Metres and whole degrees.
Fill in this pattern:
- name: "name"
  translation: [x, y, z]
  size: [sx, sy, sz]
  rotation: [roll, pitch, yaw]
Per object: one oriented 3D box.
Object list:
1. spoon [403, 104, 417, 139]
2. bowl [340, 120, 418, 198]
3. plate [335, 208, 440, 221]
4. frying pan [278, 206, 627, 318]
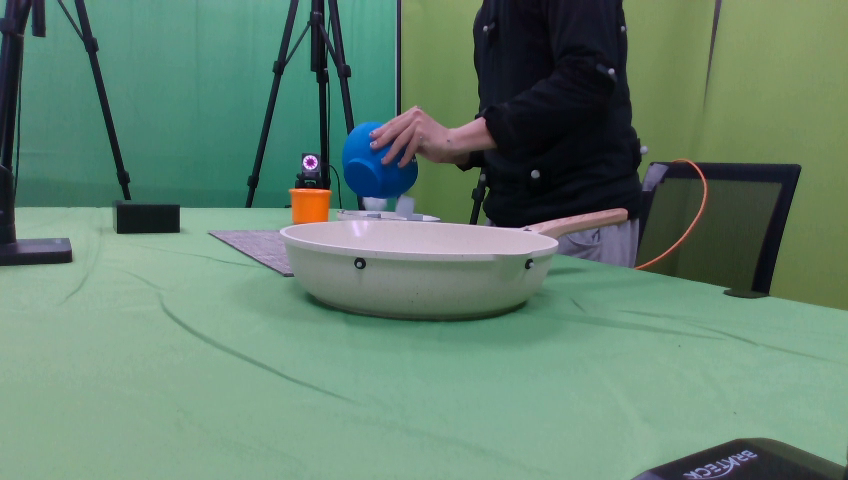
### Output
- name: "spoon"
  translation: [-0.047, -0.192, 1.200]
  size: [0.041, 0.193, 0.022]
  rotation: [3, -32, 30]
- name: "bowl"
  translation: [-0.095, -0.131, 1.084]
  size: [0.151, 0.151, 0.077]
  rotation: [6, 39, 29]
- name: "plate"
  translation: [-0.073, -0.035, 1.196]
  size: [0.208, 0.039, 0.207]
  rotation: [4, 6, 0]
- name: "frying pan"
  translation: [0.079, 0.002, 0.705]
  size: [0.490, 0.102, 0.305]
  rotation: [-12, 15, -33]
